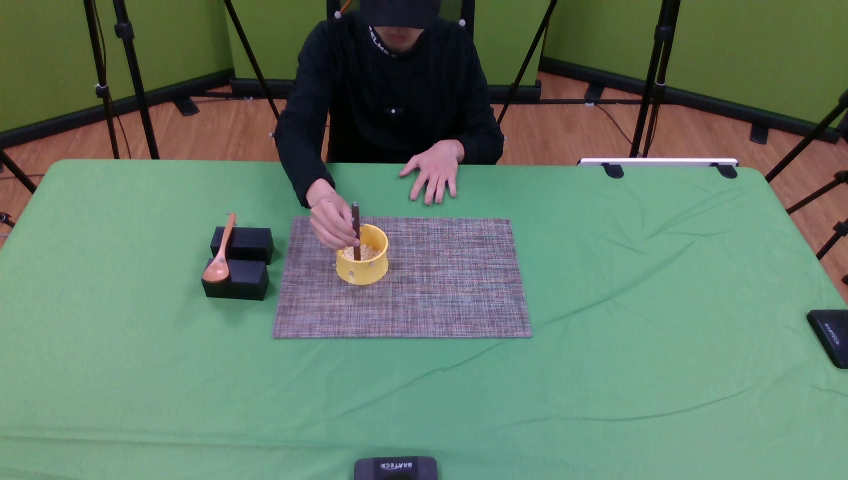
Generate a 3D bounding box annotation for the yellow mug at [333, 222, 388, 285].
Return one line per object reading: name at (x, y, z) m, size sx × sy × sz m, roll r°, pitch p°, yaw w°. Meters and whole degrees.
yellow mug at (-0.126, 0.015, 1.139) m, size 0.100 × 0.064 × 0.130 m, roll -24°, pitch 51°, yaw -24°

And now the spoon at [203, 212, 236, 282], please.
spoon at (-0.361, 0.009, 1.097) m, size 0.041 × 0.022 × 0.192 m, roll 0°, pitch 44°, yaw -3°

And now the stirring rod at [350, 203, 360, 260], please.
stirring rod at (-0.120, 0.000, 1.067) m, size 0.014 × 0.177 × 0.006 m, roll 22°, pitch 50°, yaw 17°
